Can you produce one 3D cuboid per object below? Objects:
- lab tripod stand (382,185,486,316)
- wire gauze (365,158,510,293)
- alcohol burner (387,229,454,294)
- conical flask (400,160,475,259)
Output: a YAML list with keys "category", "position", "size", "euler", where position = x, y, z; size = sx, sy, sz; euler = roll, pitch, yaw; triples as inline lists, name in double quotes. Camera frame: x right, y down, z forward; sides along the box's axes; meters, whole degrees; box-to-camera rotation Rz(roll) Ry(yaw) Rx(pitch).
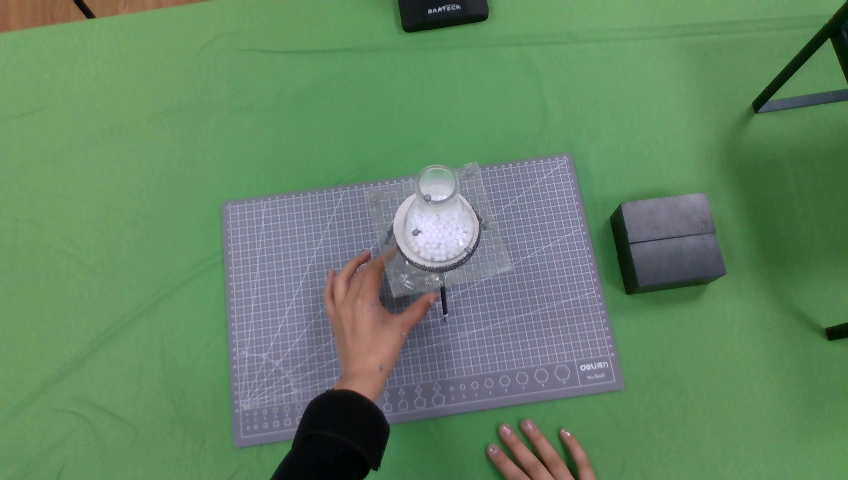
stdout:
- category: "lab tripod stand"
  position: [0.016, 0.000, 0.678]
  size: [0.148, 0.132, 0.147]
  euler: [0, 72, 1]
- category: "wire gauze"
  position: [0.012, -0.015, 0.615]
  size: [0.125, 0.011, 0.121]
  euler: [-13, 76, -6]
- category: "alcohol burner"
  position: [-0.004, 0.019, 0.683]
  size: [0.078, 0.120, 0.077]
  euler: [0, 72, 0]
- category: "conical flask"
  position: [0.012, -0.032, 0.557]
  size: [0.075, 0.122, 0.075]
  euler: [0, 73, 1]
